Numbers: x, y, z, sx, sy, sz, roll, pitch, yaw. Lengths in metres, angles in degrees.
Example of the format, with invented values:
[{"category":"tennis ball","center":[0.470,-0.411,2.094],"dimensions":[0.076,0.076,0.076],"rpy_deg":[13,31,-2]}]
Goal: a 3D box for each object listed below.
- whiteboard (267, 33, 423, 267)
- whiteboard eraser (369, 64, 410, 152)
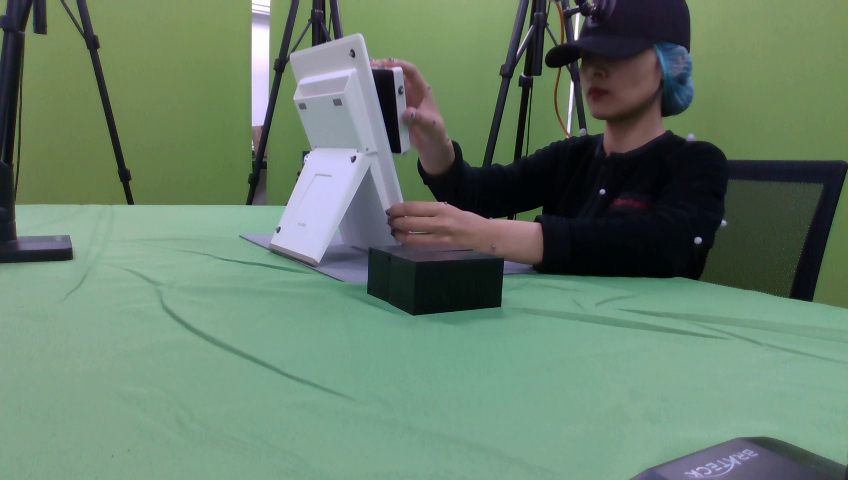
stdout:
[{"category":"whiteboard","center":[-0.153,-0.097,0.819],"dimensions":[0.144,0.305,0.216],"rpy_deg":[-25,21,-29]},{"category":"whiteboard eraser","center":[-0.052,-0.172,0.791],"dimensions":[0.055,0.113,0.042],"rpy_deg":[13,32,36]}]
